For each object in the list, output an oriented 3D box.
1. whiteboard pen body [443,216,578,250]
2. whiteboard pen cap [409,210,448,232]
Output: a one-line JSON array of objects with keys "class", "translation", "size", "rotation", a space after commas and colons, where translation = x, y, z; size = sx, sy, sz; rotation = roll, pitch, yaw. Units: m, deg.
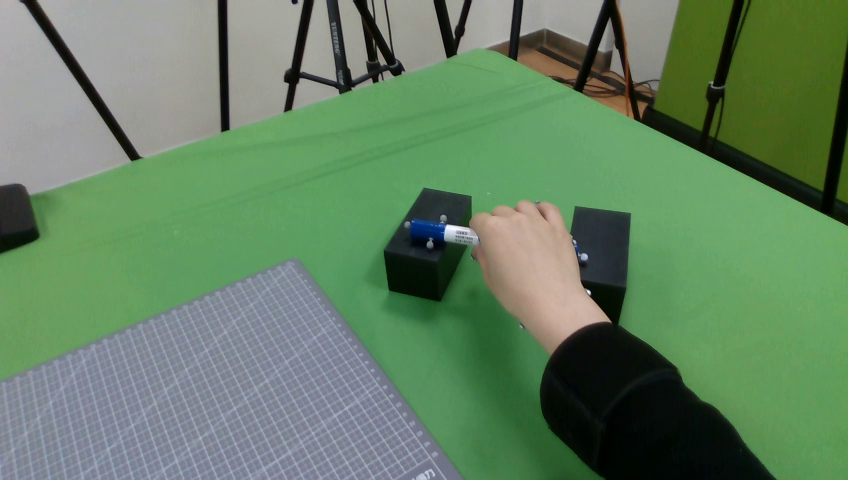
[{"class": "whiteboard pen body", "translation": [0.061, -0.008, 0.520], "size": [0.140, 0.017, 0.017], "rotation": [8, 42, 15]}, {"class": "whiteboard pen cap", "translation": [0.005, -0.017, 0.530], "size": [0.033, 0.018, 0.018], "rotation": [9, 42, 14]}]
